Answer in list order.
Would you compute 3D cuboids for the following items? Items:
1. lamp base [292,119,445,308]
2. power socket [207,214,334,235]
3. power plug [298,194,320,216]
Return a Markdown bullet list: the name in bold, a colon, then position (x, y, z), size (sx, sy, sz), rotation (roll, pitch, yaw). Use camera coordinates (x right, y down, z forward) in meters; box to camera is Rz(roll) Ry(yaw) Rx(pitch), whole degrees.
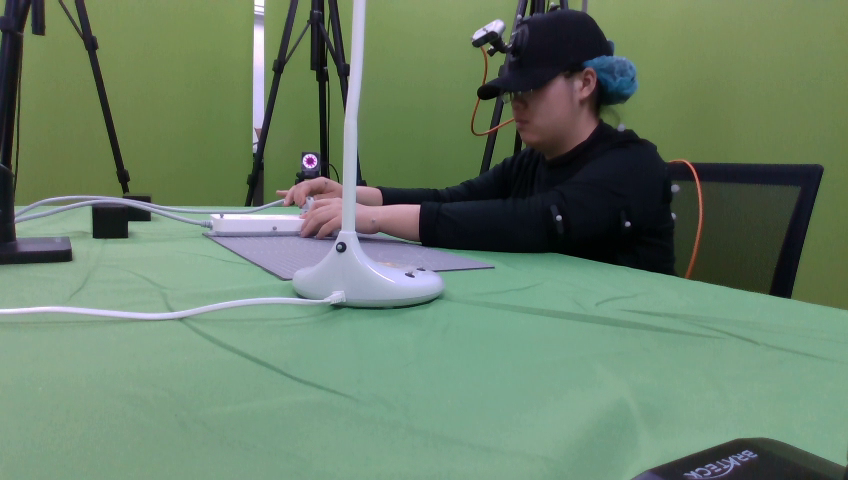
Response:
- **lamp base**: position (-0.056, -0.030, 0.616), size (0.160, 0.180, 0.179), rotation (3, 10, 8)
- **power socket**: position (-0.270, -0.029, 1.081), size (0.228, 0.032, 0.072), rotation (-1, 8, -30)
- **power plug**: position (-0.218, -0.059, 1.142), size (0.035, 0.052, 0.072), rotation (0, 12, -16)
